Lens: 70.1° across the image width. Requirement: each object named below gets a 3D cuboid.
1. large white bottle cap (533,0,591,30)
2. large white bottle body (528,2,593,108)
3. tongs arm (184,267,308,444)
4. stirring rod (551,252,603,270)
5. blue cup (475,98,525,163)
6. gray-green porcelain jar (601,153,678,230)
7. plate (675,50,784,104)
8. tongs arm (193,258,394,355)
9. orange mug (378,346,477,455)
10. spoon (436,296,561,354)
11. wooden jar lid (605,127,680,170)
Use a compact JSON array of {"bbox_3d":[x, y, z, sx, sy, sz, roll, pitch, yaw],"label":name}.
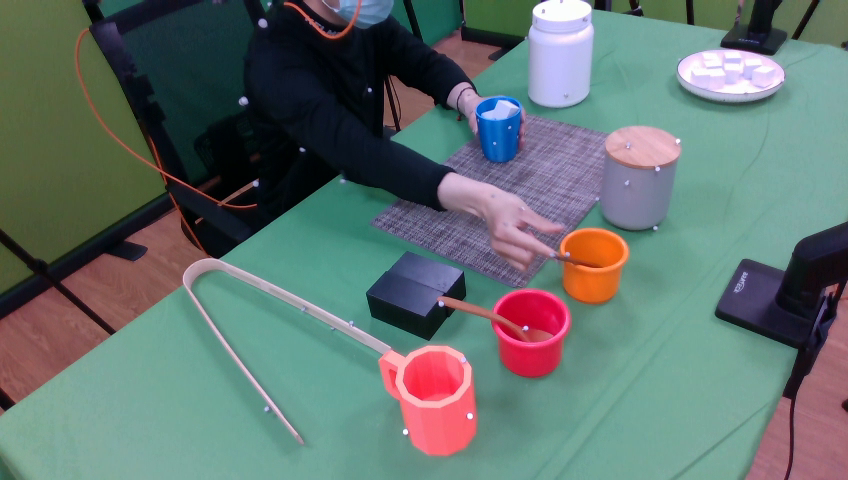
[{"bbox_3d":[0.274,-0.450,1.204,0.115,0.018,0.114,-4,41,4],"label":"large white bottle cap"},{"bbox_3d":[0.283,-0.386,1.259,0.130,0.185,0.130,-5,41,4],"label":"large white bottle body"},{"bbox_3d":[-0.259,0.147,0.843,0.028,0.028,0.384,-37,48,-18],"label":"tongs arm"},{"bbox_3d":[0.211,0.029,0.822,0.014,0.006,0.177,33,12,33],"label":"stirring rod"},{"bbox_3d":[0.140,-0.201,1.134,0.092,0.100,0.092,-4,39,4],"label":"blue cup"},{"bbox_3d":[0.334,-0.087,0.949,0.106,0.127,0.105,-4,40,4],"label":"gray-green porcelain jar"},{"bbox_3d":[0.632,-0.336,1.262,0.207,0.039,0.206,-4,41,4],"label":"plate"},{"bbox_3d":[-0.204,0.099,0.881,0.382,0.027,0.051,23,55,32],"label":"tongs arm"},{"bbox_3d":[0.002,0.179,0.708,0.125,0.101,0.083,25,50,27],"label":"orange mug"},{"bbox_3d":[0.096,0.102,0.750,0.195,0.021,0.041,28,30,-28],"label":"spoon"},{"bbox_3d":[0.327,-0.134,0.909,0.108,0.021,0.108,-2,43,2],"label":"wooden jar lid"}]
